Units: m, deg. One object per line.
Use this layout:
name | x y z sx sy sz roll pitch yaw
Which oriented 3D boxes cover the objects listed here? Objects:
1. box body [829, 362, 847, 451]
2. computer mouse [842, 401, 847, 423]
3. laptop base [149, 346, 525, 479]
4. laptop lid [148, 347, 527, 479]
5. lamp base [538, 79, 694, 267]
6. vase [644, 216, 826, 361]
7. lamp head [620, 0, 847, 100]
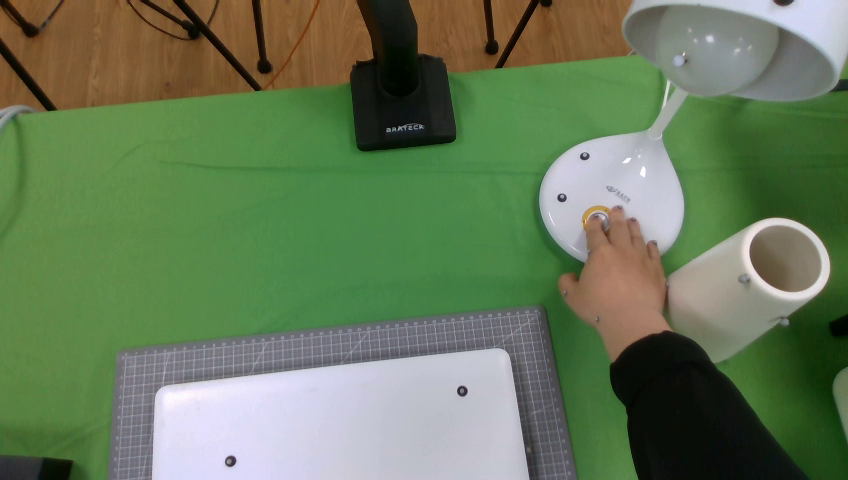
box body | 0.538 0.254 0.496 0.254 0.161 0.361 -5 69 -2
computer mouse | 0.455 0.201 0.575 0.063 0.041 0.116 -11 61 0
laptop base | -0.080 0.233 0.574 0.354 0.023 0.234 -6 73 -2
laptop lid | -0.080 0.231 0.564 0.357 0.013 0.240 -4 71 -2
lamp base | 0.214 -0.084 0.615 0.160 0.181 0.178 27 68 10
vase | 0.274 0.047 0.554 0.098 0.201 0.097 0 67 2
lamp head | 0.178 -0.148 0.319 0.112 0.113 0.123 23 88 9
